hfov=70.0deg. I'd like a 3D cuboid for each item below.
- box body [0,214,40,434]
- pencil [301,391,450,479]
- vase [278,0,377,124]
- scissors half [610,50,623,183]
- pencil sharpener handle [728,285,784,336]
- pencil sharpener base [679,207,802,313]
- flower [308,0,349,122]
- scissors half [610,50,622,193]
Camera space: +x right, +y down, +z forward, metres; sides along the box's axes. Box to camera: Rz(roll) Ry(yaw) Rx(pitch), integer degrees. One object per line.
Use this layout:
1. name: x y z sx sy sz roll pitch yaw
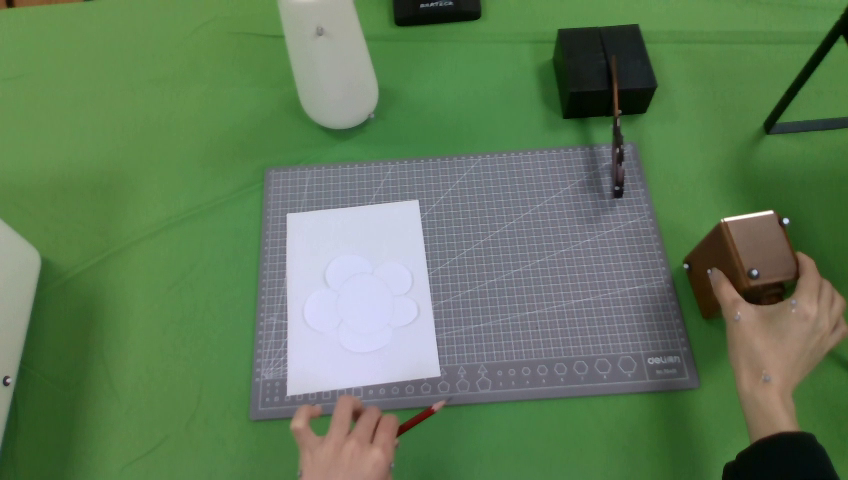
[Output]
1. box body: -0.540 0.131 0.550 0.254 0.161 0.361 -4 64 0
2. pencil: -0.059 0.186 0.534 0.194 0.012 0.012 -31 67 -4
3. vase: -0.110 -0.223 0.685 0.098 0.201 0.097 -1 63 3
4. scissors half: 0.216 -0.145 0.683 0.013 0.040 0.174 0 65 12
5. pencil sharpener handle: 0.315 0.068 0.572 0.036 0.068 0.030 -5 67 -12
6. pencil sharpener base: 0.310 0.026 0.602 0.061 0.108 0.076 -9 68 -2
7. flower: -0.121 -0.270 0.616 0.044 0.365 0.038 -11 46 1
8. scissors half: 0.222 -0.139 0.702 0.012 0.040 0.174 -1 82 17
